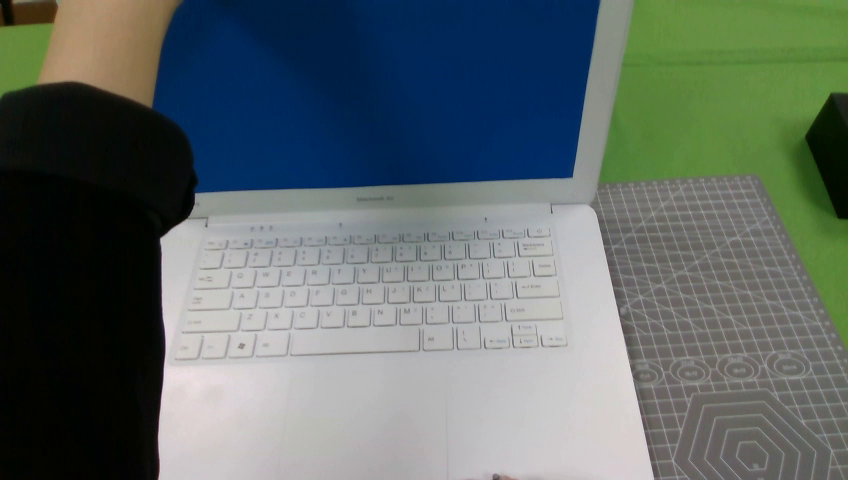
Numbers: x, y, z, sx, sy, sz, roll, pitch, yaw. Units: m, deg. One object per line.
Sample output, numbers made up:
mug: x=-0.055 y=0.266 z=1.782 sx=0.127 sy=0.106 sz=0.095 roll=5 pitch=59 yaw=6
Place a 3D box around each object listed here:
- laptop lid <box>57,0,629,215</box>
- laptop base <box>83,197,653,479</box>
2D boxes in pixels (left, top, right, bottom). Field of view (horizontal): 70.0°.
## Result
laptop lid: x=-0.046 y=-0.107 z=0.417 sx=0.356 sy=0.244 sz=0.013 roll=-3 pitch=46 yaw=3
laptop base: x=-0.039 y=0.071 z=0.434 sx=0.354 sy=0.023 sz=0.233 roll=-2 pitch=56 yaw=2
